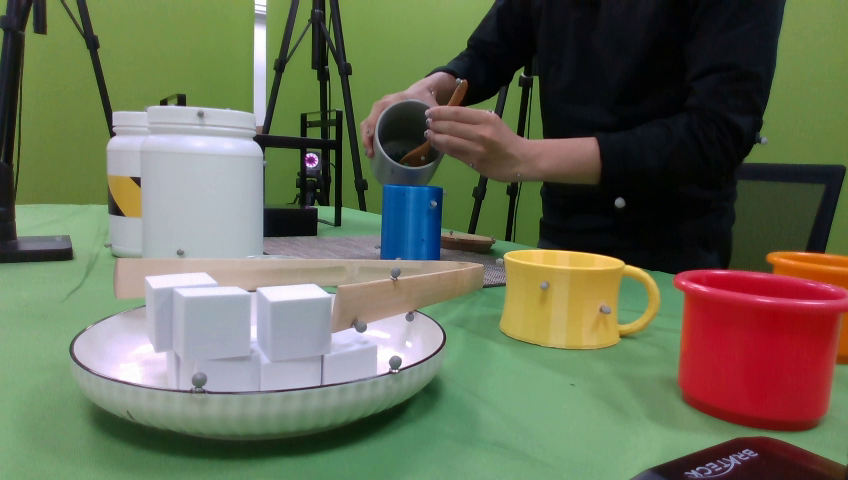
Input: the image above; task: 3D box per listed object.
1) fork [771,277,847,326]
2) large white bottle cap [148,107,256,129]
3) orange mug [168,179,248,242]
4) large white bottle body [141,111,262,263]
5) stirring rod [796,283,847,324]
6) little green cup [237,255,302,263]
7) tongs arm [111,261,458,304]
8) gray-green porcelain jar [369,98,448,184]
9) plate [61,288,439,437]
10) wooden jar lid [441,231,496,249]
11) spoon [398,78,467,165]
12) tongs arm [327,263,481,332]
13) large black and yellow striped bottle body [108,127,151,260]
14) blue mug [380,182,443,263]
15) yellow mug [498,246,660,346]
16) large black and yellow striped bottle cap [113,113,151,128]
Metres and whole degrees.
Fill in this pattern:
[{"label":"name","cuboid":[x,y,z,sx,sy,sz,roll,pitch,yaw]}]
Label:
[{"label":"fork","cuboid":[0.335,0.018,0.443,0.028,0.018,0.207,-1,-36,-20]},{"label":"large white bottle cap","cuboid":[-0.250,-0.137,0.686,0.115,0.018,0.115,2,8,0]},{"label":"orange mug","cuboid":[-0.351,-0.050,0.986,0.126,0.101,0.083,-4,8,-9]},{"label":"large white bottle body","cuboid":[-0.254,-0.053,0.697,0.131,0.184,0.130,2,7,0]},{"label":"stirring rod","cuboid":[0.346,0.019,0.460,0.014,0.176,0.006,-17,59,-26]},{"label":"little green cup","cuboid":[-0.150,0.038,0.590,0.061,0.038,0.061,3,6,0]},{"label":"tongs arm","cuboid":[-0.080,0.032,0.527,0.028,0.027,0.389,-3,-3,33]},{"label":"gray-green porcelain jar","cuboid":[-0.027,-0.134,0.894,0.106,0.105,0.126,1,-14,-10]},{"label":"plate","cuboid":[-0.095,0.069,0.362,0.208,0.039,0.207,3,7,0]},{"label":"wooden jar lid","cuboid":[0.066,0.000,1.011,0.108,0.020,0.108,6,7,0]},{"label":"spoon","cuboid":[0.011,-0.146,0.825,0.042,0.021,0.193,14,-38,-22]},{"label":"tongs arm","cuboid":[-0.003,0.036,0.493,0.050,0.026,0.386,1,0,19]},{"label":"large black and yellow striped bottle body","cuboid":[-0.350,-0.071,0.812,0.131,0.184,0.130,2,7,0]},{"label":"blue mug","cuboid":[-0.019,-0.026,0.833,0.082,0.106,0.116,1,7,-6]},{"label":"yellow mug","cuboid":[0.130,0.045,0.508,0.131,0.064,0.100,4,7,6]},{"label":"large black and yellow striped bottle cap","cuboid":[-0.348,-0.154,0.800,0.115,0.019,0.115,2,6,0]}]
